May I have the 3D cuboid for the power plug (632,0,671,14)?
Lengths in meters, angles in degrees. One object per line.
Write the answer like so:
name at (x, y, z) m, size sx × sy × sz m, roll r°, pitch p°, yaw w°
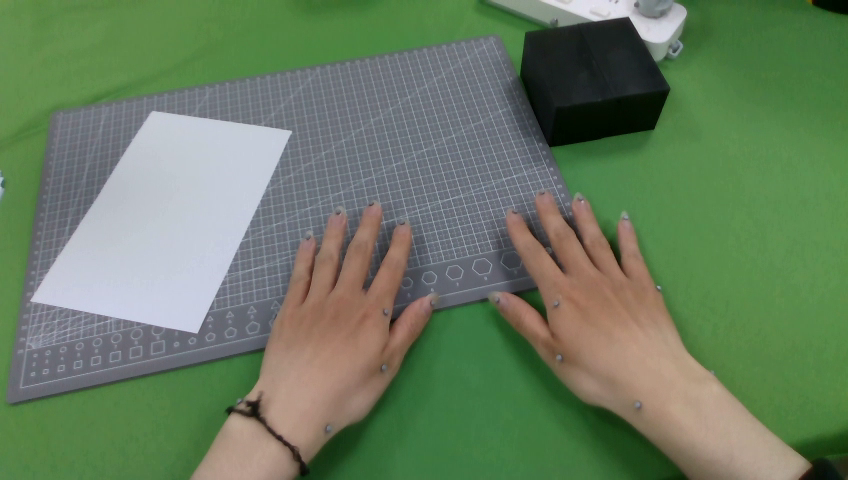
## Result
power plug at (0.237, -0.248, 0.600) m, size 0.035 × 0.053 × 0.072 m, roll 39°, pitch 67°, yaw 24°

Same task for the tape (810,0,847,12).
tape at (0.454, -0.299, 0.641) m, size 0.117 × 0.053 × 0.116 m, roll -1°, pitch 58°, yaw 2°

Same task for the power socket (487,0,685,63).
power socket at (0.161, -0.250, 0.632) m, size 0.225 × 0.033 × 0.072 m, roll 30°, pitch 62°, yaw 20°
